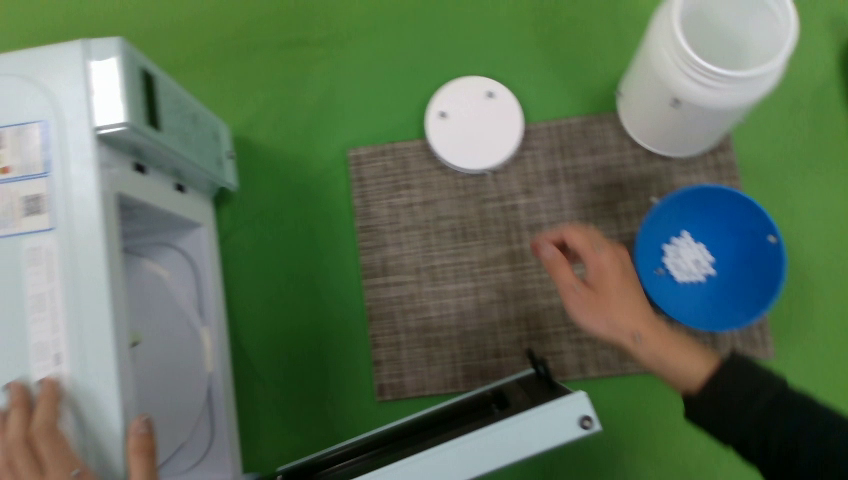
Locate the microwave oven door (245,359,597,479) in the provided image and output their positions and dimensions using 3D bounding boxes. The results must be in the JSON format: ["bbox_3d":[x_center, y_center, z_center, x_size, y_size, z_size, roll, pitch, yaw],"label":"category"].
[{"bbox_3d":[-0.034,0.199,0.557,0.356,0.244,0.039,-22,81,1],"label":"microwave oven door"}]

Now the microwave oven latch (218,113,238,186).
[{"bbox_3d":[-0.237,-0.105,0.706,0.030,0.029,0.079,-9,83,2],"label":"microwave oven latch"}]

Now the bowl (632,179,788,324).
[{"bbox_3d":[0.294,0.016,0.654,0.151,0.077,0.151,0,83,4],"label":"bowl"}]

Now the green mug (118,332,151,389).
[{"bbox_3d":[-0.342,0.124,0.611,0.125,0.105,0.092,-20,84,-3],"label":"green mug"}]

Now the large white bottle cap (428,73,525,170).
[{"bbox_3d":[0.062,-0.141,0.717,0.115,0.018,0.114,0,82,3],"label":"large white bottle cap"}]

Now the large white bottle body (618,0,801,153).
[{"bbox_3d":[0.285,-0.179,0.624,0.130,0.185,0.130,-1,79,4],"label":"large white bottle body"}]

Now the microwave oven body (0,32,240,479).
[{"bbox_3d":[-0.365,0.078,0.595,0.326,0.261,0.440,-9,83,2],"label":"microwave oven body"}]
